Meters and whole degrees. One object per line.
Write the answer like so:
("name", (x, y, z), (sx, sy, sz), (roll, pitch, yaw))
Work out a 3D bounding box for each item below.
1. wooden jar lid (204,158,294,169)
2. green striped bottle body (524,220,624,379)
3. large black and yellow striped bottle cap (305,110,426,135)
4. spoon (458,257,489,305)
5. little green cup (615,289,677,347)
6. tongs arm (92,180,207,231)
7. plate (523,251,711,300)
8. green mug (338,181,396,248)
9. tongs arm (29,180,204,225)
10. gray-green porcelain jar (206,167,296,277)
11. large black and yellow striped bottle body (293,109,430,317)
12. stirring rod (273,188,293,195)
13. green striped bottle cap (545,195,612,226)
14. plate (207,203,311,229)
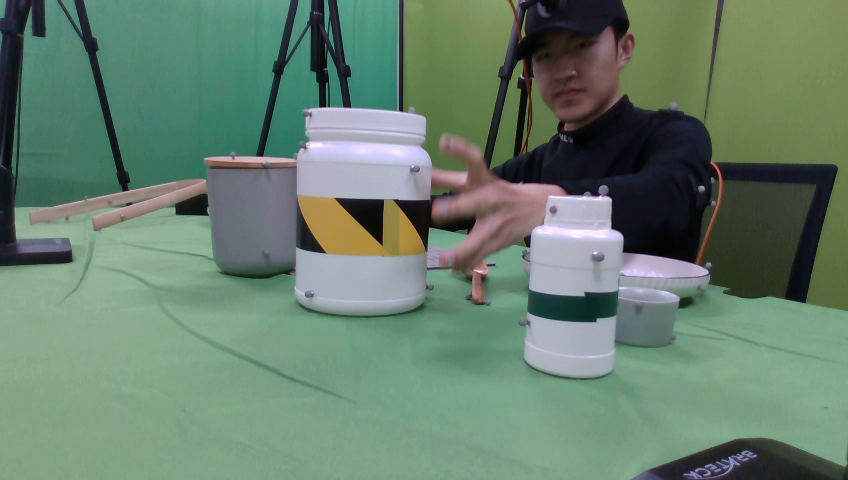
("wooden jar lid", (-0.202, -0.086, 0.714), (0.108, 0.020, 0.108), (3, 11, 0))
("green striped bottle body", (0.104, 0.030, 0.422), (0.063, 0.119, 0.063), (2, 7, 0))
("large black and yellow striped bottle cap", (-0.055, -0.110, 0.574), (0.115, 0.019, 0.115), (1, 7, 0))
("spoon", (0.059, 0.044, 0.696), (0.041, 0.021, 0.194), (19, 7, 1))
("little green cup", (0.179, 0.064, 0.506), (0.061, 0.038, 0.061), (1, 6, 0))
("tongs arm", (-0.534, -0.076, 1.221), (0.028, 0.028, 0.388), (-2, 15, 12))
("plate", (0.219, 0.042, 0.706), (0.209, 0.038, 0.209), (2, 7, 0))
("green mug", (-0.098, -0.044, 0.995), (0.093, 0.105, 0.125), (-1, 7, -21))
("tongs arm", (-0.609, -0.083, 1.245), (0.050, 0.026, 0.386), (5, 16, 23))
("gray-green porcelain jar", (-0.201, -0.024, 0.724), (0.106, 0.126, 0.106), (-1, 9, 1))
("large black and yellow striped bottle body", (-0.060, -0.028, 0.585), (0.131, 0.184, 0.130), (2, 7, 0))
("stirring rod", (-0.353, -0.122, 1.519), (0.006, 0.014, 0.176), (2, 7, 2))
("green striped bottle cap", (0.106, -0.020, 0.415), (0.044, 0.020, 0.044), (2, 4, 0))
("plate", (-0.342, -0.050, 1.259), (0.208, 0.039, 0.207), (2, 7, 0))
